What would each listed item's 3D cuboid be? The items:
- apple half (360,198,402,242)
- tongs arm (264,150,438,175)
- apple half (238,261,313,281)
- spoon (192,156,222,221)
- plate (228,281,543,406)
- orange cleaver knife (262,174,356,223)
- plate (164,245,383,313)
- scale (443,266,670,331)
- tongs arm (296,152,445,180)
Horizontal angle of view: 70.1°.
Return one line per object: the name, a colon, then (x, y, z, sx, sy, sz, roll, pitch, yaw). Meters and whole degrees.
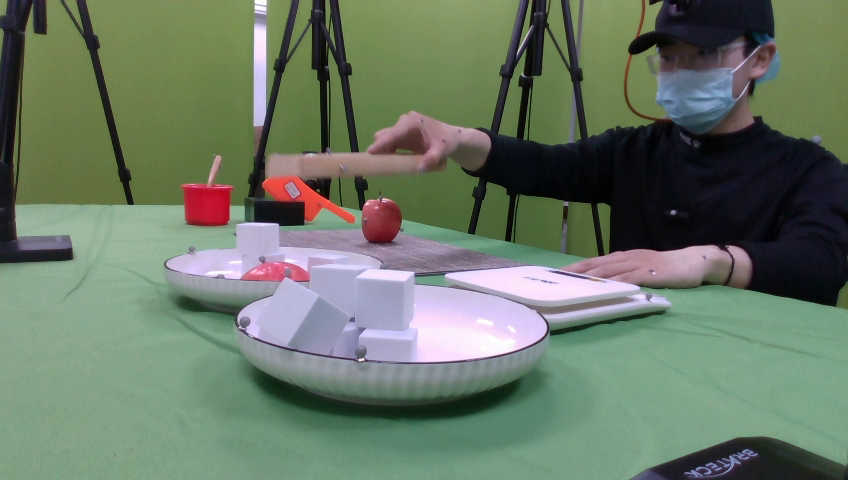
apple half: (-0.066, -0.033, 1.014, 0.053, 0.074, 0.081, 10, 6, 21)
tongs arm: (-0.077, -0.108, 0.831, 0.050, 0.026, 0.386, 8, 11, 23)
apple half: (-0.141, 0.036, 0.578, 0.081, 0.033, 0.081, 2, 11, 0)
spoon: (-0.430, -0.108, 1.222, 0.041, 0.021, 0.193, -1, 52, 0)
plate: (-0.025, 0.067, 0.413, 0.208, 0.039, 0.207, 3, 7, 0)
orange cleaver knife: (-0.243, -0.081, 1.293, 0.212, 0.077, 0.012, 34, -8, -26)
plate: (-0.145, 0.038, 0.600, 0.209, 0.038, 0.209, 2, 8, 0)
scale: (0.131, 0.052, 0.603, 0.202, 0.031, 0.148, -2, 9, -37)
tongs arm: (-0.051, -0.104, 0.819, 0.028, 0.028, 0.389, 4, 10, 26)
